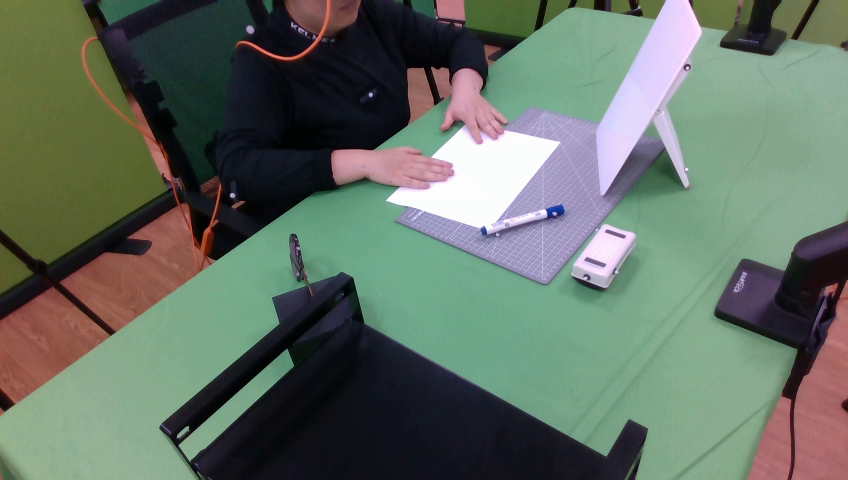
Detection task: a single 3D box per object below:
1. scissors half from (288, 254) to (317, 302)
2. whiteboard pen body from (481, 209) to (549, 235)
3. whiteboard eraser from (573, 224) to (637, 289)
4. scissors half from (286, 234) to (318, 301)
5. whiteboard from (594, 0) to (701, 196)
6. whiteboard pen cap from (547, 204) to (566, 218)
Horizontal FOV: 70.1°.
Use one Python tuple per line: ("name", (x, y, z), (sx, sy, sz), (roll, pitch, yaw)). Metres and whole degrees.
("scissors half", (-0.178, 0.058, 0.894), (0.013, 0.040, 0.174), (-17, 21, -17))
("whiteboard pen body", (0.160, -0.032, 0.985), (0.141, 0.017, 0.017), (-16, 41, -12))
("whiteboard eraser", (0.267, 0.025, 0.890), (0.055, 0.042, 0.113), (19, 47, 31))
("scissors half", (-0.178, 0.040, 0.884), (0.013, 0.040, 0.173), (-12, 36, -20))
("whiteboard", (0.420, -0.227, 1.010), (0.144, 0.305, 0.216), (18, 42, -2))
("whiteboard pen cap", (0.216, -0.046, 0.997), (0.033, 0.018, 0.018), (-18, 41, -10))
